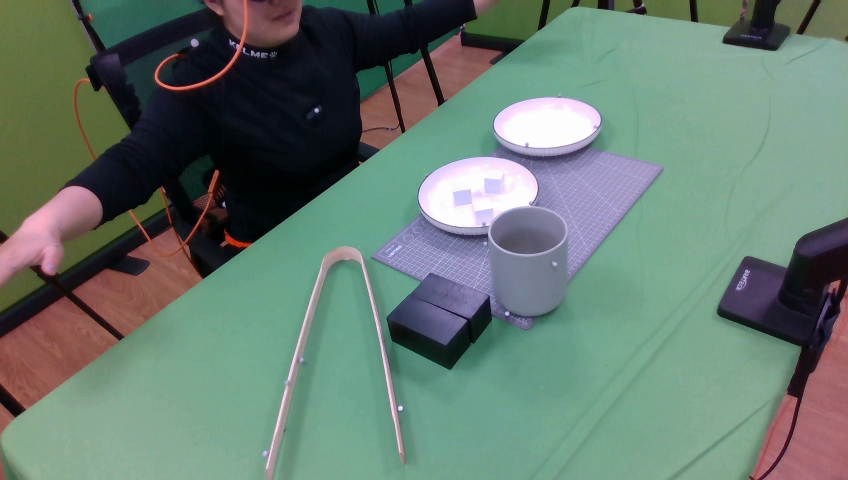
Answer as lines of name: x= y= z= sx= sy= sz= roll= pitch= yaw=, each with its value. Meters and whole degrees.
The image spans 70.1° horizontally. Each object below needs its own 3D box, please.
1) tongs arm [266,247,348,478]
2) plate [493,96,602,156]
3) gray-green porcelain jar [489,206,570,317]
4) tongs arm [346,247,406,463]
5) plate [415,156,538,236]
tongs arm: x=-0.151 y=0.143 z=0.831 sx=0.051 sy=0.026 sz=0.383 roll=-5 pitch=39 yaw=5
plate: x=0.238 y=-0.218 z=1.179 sx=0.209 sy=0.038 sz=0.208 roll=-4 pitch=39 yaw=4
gray-green porcelain jar: x=0.145 y=0.034 z=0.829 sx=0.106 sy=0.127 sz=0.105 roll=-5 pitch=40 yaw=5
tongs arm: x=-0.069 y=0.133 z=0.833 sx=0.028 sy=0.028 sz=0.384 roll=-16 pitch=40 yaw=-4
plate: x=0.090 y=-0.072 z=1.034 sx=0.207 sy=0.039 sz=0.206 roll=-5 pitch=40 yaw=5
